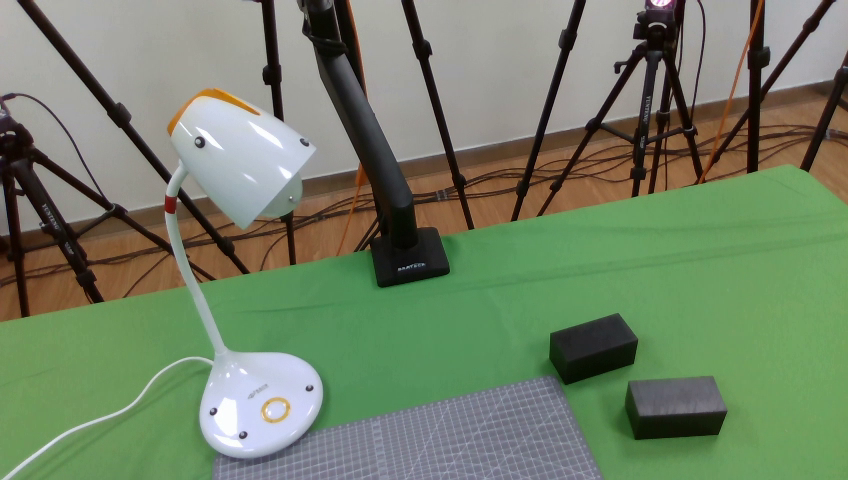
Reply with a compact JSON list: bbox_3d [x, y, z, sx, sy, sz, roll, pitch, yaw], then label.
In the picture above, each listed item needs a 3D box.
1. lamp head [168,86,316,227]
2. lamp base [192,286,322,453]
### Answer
[{"bbox_3d":[-0.188,-0.087,0.597,0.123,0.112,0.111,37,44,-12],"label":"lamp head"},{"bbox_3d":[-0.233,0.148,0.763,0.178,0.182,0.160,19,45,31],"label":"lamp base"}]
